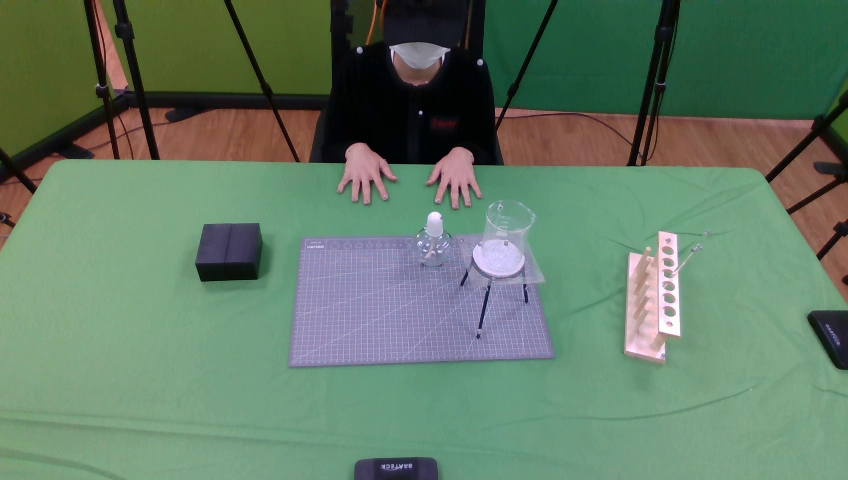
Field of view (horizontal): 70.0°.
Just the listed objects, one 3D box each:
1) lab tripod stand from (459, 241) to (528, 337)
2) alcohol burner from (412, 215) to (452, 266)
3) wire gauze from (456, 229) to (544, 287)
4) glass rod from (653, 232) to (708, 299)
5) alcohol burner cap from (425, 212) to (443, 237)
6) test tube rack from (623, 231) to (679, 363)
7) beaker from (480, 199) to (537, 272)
[{"bbox_3d":[0.122,0.075,1.054,0.148,0.132,0.147,3,44,-3],"label":"lab tripod stand"},{"bbox_3d":[0.016,-0.006,1.139,0.078,0.119,0.077,2,48,-2],"label":"alcohol burner"},{"bbox_3d":[0.125,0.030,1.008,0.125,0.011,0.120,-3,48,-11],"label":"wire gauze"},{"bbox_3d":[0.441,0.049,1.050,0.008,0.200,0.008,4,52,-5],"label":"glass rod"},{"bbox_3d":[0.019,-0.032,1.114,0.034,0.048,0.033,0,48,0],"label":"alcohol burner cap"},{"bbox_3d":[0.410,0.094,1.096,0.066,0.085,0.241,13,46,9],"label":"test tube rack"},{"bbox_3d":[0.132,-0.004,0.973,0.084,0.101,0.073,-4,47,-9],"label":"beaker"}]
